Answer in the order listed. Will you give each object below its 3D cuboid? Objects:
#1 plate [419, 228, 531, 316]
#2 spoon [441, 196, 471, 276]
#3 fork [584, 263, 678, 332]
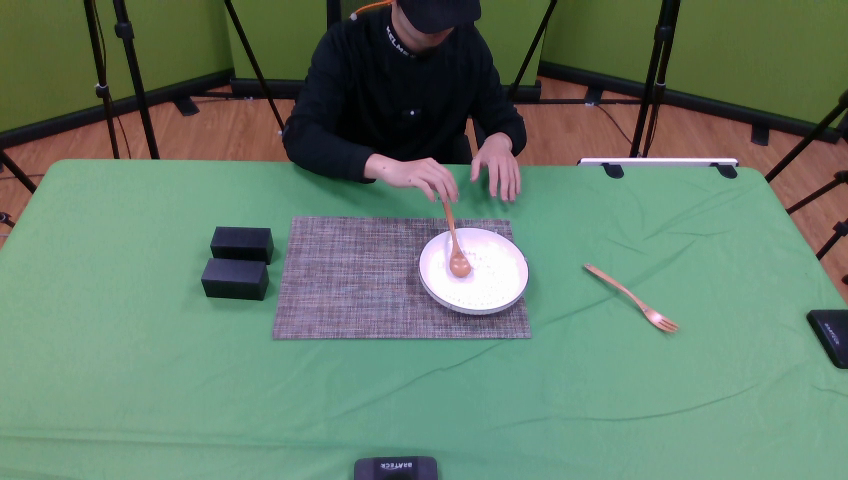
[{"bbox_3d":[0.093,0.062,1.131,0.208,0.039,0.206,2,46,-2],"label":"plate"},{"bbox_3d":[0.056,-0.010,1.176,0.041,0.022,0.192,-6,60,-7],"label":"spoon"},{"bbox_3d":[0.380,0.103,1.130,0.028,0.019,0.206,-34,58,-23],"label":"fork"}]
